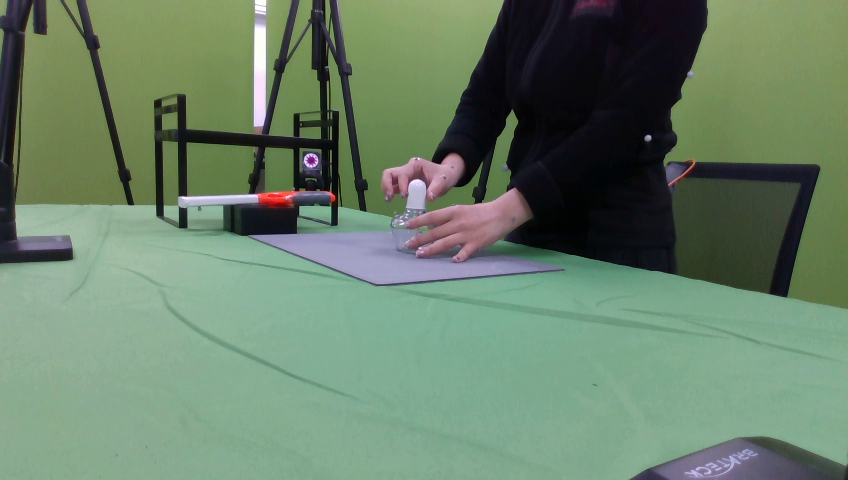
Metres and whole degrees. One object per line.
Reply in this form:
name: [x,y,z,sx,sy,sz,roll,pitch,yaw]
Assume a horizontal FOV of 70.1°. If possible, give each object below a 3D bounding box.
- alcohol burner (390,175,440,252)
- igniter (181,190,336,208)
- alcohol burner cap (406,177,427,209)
alcohol burner: [-0.012,-0.041,0.930,0.078,0.119,0.078,5,8,0]
igniter: [-0.294,-0.076,1.103,0.278,0.025,0.057,-5,12,-33]
alcohol burner cap: [-0.011,-0.072,0.925,0.034,0.048,0.034,2,4,0]
